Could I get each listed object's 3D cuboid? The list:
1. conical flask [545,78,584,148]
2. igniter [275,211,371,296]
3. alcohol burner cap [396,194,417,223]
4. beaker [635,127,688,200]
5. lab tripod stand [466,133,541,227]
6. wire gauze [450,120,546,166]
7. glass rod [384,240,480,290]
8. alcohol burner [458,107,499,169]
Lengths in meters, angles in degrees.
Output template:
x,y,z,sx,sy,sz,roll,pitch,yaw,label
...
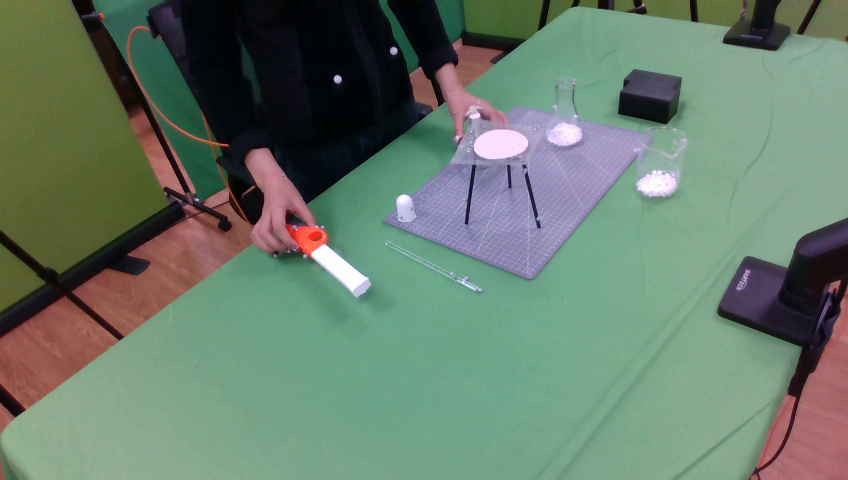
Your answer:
x,y,z,sx,sy,sz,roll,pitch,yaw,label
0.264,-0.241,1.135,0.075,0.122,0.075,-6,40,5,conical flask
-0.169,0.014,0.960,0.057,0.025,0.274,-37,42,-19,igniter
-0.032,-0.056,1.036,0.034,0.048,0.033,-6,41,6,alcohol burner cap
0.388,-0.122,0.994,0.074,0.101,0.083,-8,40,2,beaker
0.129,-0.099,0.985,0.148,0.132,0.147,-7,38,6,lab tripod stand
0.117,-0.151,0.943,0.121,0.011,0.125,9,43,21,wire gauze
0.009,0.037,0.949,0.198,0.008,0.008,26,52,34,glass rod
0.099,-0.193,1.118,0.078,0.120,0.077,-6,42,6,alcohol burner
